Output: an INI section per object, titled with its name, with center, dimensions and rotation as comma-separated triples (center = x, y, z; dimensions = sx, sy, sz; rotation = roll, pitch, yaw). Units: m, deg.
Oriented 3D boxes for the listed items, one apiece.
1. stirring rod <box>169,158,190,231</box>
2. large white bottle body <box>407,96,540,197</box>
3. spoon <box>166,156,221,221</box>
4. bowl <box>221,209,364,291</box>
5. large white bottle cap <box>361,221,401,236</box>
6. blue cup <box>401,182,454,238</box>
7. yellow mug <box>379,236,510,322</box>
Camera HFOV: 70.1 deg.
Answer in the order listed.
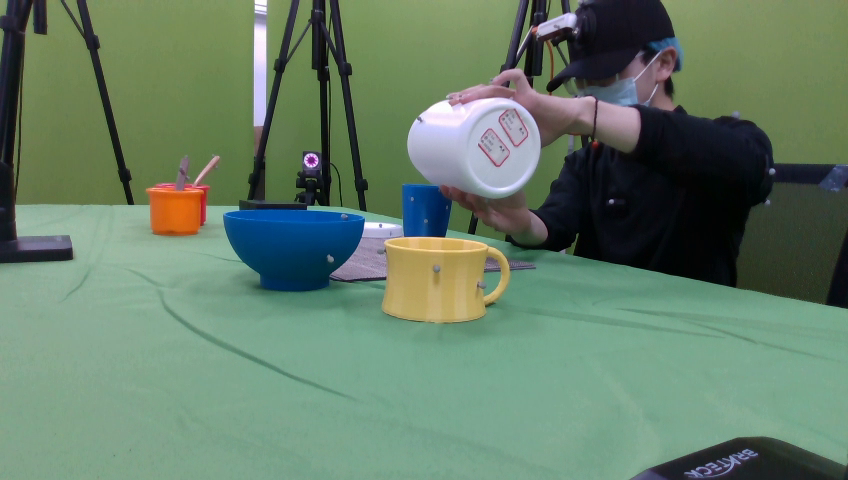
[stirring rod]
center = -0.427, -0.083, 1.059
dimensions = 0.014, 0.006, 0.175
rotation = 2, 49, -13
[large white bottle body]
center = 0.061, -0.134, 0.854
dimensions = 0.131, 0.130, 0.184
rotation = -1, 11, -26
[spoon]
center = -0.447, -0.104, 1.191
dimensions = 0.041, 0.022, 0.193
rotation = 7, 52, 14
[bowl]
center = -0.142, 0.011, 0.660
dimensions = 0.151, 0.077, 0.151
rotation = 2, 7, 0
[large white bottle cap]
center = -0.099, -0.021, 1.123
dimensions = 0.115, 0.018, 0.115
rotation = 3, 7, 0
[blue cup]
center = 0.002, -0.038, 0.966
dimensions = 0.093, 0.100, 0.092
rotation = 4, 9, 0
[yellow mug]
center = 0.024, 0.034, 0.575
dimensions = 0.131, 0.064, 0.099
rotation = 0, 7, -22
